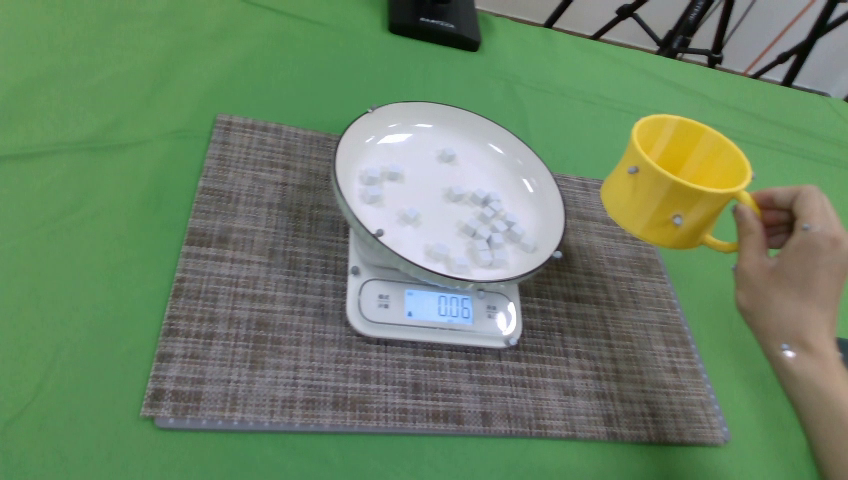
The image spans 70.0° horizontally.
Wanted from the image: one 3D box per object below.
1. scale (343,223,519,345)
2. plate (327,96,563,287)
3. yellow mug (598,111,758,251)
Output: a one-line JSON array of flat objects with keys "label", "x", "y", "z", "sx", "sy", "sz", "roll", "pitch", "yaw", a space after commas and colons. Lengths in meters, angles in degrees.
[{"label": "scale", "x": 0.006, "y": -0.005, "z": 0.533, "sx": 0.149, "sy": 0.032, "sz": 0.199, "roll": 8, "pitch": 51, "yaw": -14}, {"label": "plate", "x": 0.018, "y": -0.043, "z": 0.525, "sx": 0.210, "sy": 0.038, "sz": 0.207, "roll": 11, "pitch": 50, "yaw": -13}, {"label": "yellow mug", "x": 0.216, "y": -0.043, "z": 0.503, "sx": 0.100, "sy": 0.064, "sz": 0.129, "roll": -27, "pitch": 59, "yaw": -34}]
